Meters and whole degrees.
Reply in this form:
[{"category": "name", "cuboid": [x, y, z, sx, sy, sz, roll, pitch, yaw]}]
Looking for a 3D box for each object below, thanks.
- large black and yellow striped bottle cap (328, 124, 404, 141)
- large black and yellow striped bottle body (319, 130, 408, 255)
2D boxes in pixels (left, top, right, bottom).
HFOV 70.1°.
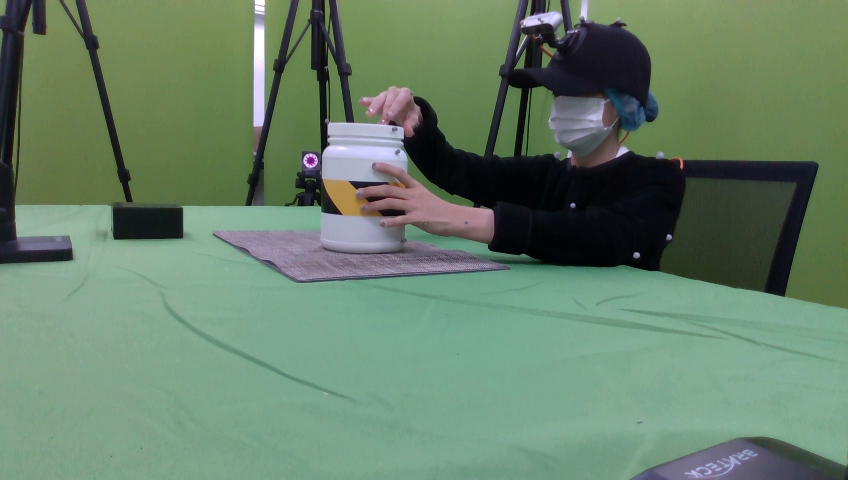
[{"category": "large black and yellow striped bottle cap", "cuboid": [-0.087, -0.162, 0.911, 0.115, 0.019, 0.115, 4, 9, 0]}, {"category": "large black and yellow striped bottle body", "cuboid": [-0.092, -0.076, 0.921, 0.131, 0.184, 0.130, 3, 7, 0]}]
